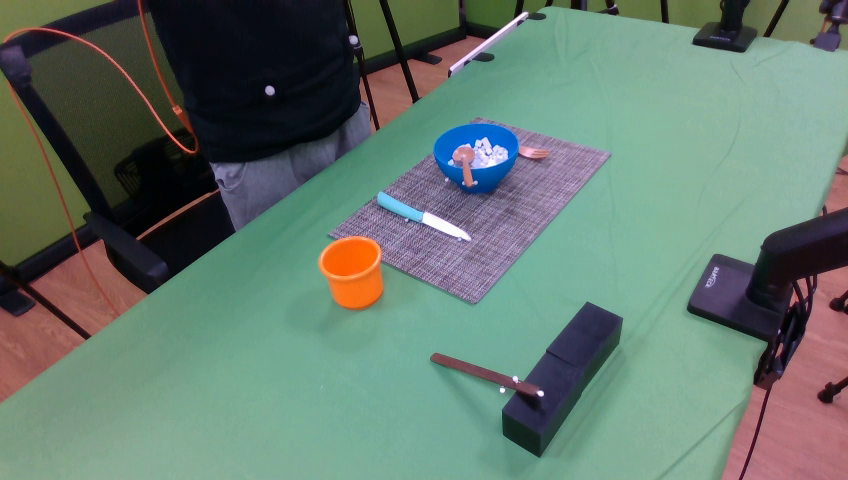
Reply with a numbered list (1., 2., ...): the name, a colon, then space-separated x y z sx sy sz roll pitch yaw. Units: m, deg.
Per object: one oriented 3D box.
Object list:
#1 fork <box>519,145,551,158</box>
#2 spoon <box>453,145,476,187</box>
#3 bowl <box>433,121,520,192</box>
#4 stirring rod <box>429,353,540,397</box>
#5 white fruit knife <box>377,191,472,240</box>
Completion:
1. fork: 0.146 -0.188 1.162 0.206 0.019 0.028 22 58 27
2. spoon: 0.069 -0.125 1.000 0.041 0.022 0.193 -10 21 6
3. bowl: 0.093 -0.137 1.064 0.151 0.077 0.150 -4 41 4
4. stirring rod: 0.069 0.162 0.737 0.174 0.006 0.014 8 42 47
5. white fruit knife: -0.004 -0.039 1.012 0.206 0.016 0.027 25 61 31
